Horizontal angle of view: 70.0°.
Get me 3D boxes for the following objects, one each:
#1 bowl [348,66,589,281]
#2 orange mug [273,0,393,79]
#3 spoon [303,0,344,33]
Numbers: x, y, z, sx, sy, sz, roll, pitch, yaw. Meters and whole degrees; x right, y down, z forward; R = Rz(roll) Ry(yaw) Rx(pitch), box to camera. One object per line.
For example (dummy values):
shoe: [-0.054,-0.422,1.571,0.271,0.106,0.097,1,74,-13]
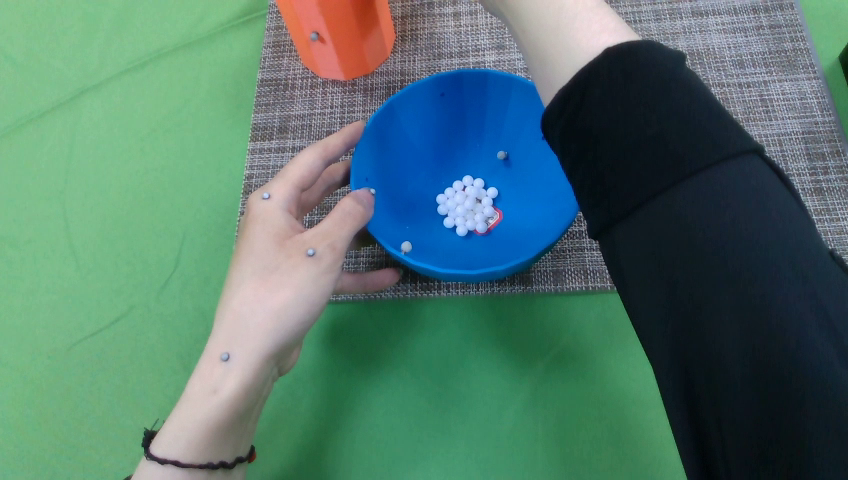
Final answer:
bowl: [0.030,-0.033,0.410,0.151,0.077,0.150,-2,65,6]
orange mug: [-0.072,-0.211,0.491,0.083,0.101,0.125,8,72,11]
spoon: [-0.047,-0.212,0.428,0.022,0.193,0.041,-6,75,-30]
